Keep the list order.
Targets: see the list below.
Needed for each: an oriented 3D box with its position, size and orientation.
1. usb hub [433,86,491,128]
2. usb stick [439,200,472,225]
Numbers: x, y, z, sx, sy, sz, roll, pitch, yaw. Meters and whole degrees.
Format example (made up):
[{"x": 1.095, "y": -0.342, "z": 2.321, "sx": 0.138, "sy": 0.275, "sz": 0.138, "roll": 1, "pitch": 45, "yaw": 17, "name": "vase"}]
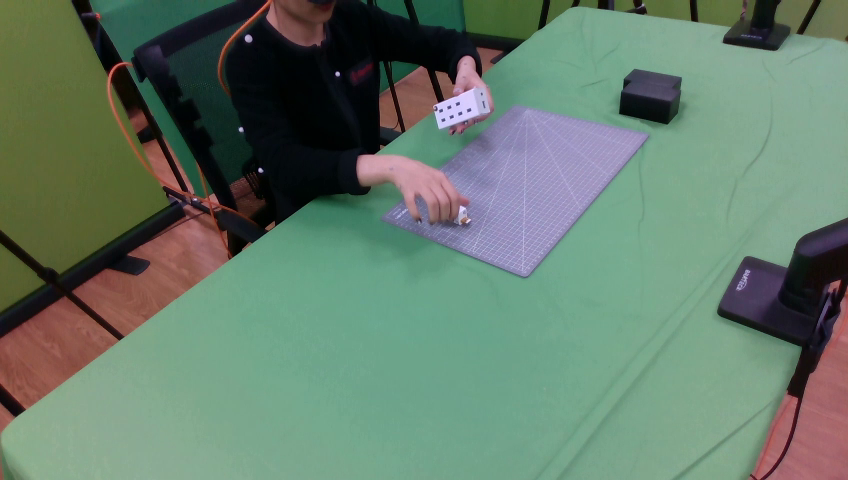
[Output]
[{"x": 0.069, "y": -0.246, "z": 1.126, "sx": 0.025, "sy": 0.049, "sz": 0.124, "roll": -19, "pitch": 7, "yaw": -39, "name": "usb hub"}, {"x": 0.054, "y": -0.044, "z": 1.016, "sx": 0.058, "sy": 0.027, "sz": 0.021, "roll": 29, "pitch": 52, "yaw": 33, "name": "usb stick"}]
